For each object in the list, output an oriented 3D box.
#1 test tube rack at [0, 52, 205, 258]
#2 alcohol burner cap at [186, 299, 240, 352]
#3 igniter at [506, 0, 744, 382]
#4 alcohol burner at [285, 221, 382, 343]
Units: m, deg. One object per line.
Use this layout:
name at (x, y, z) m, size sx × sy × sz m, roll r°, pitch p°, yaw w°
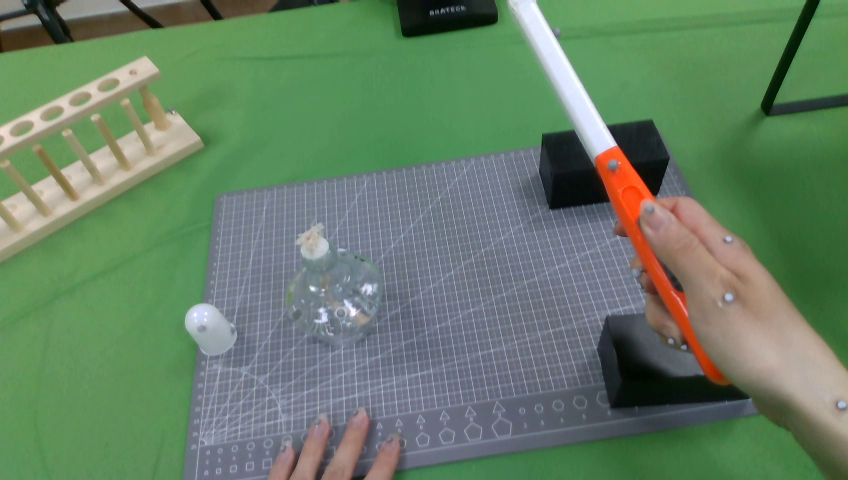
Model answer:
test tube rack at (-0.354, -0.083, 0.599) m, size 0.242 × 0.086 × 0.066 m, roll -35°, pitch 58°, yaw -19°
alcohol burner cap at (-0.174, 0.067, 0.495) m, size 0.034 × 0.048 × 0.033 m, roll -3°, pitch 55°, yaw 5°
igniter at (0.118, -0.042, 0.374) m, size 0.025 × 0.057 × 0.274 m, roll -28°, pitch 74°, yaw 12°
alcohol burner at (-0.073, 0.029, 0.467) m, size 0.078 × 0.120 × 0.077 m, roll -3°, pitch 52°, yaw 5°
